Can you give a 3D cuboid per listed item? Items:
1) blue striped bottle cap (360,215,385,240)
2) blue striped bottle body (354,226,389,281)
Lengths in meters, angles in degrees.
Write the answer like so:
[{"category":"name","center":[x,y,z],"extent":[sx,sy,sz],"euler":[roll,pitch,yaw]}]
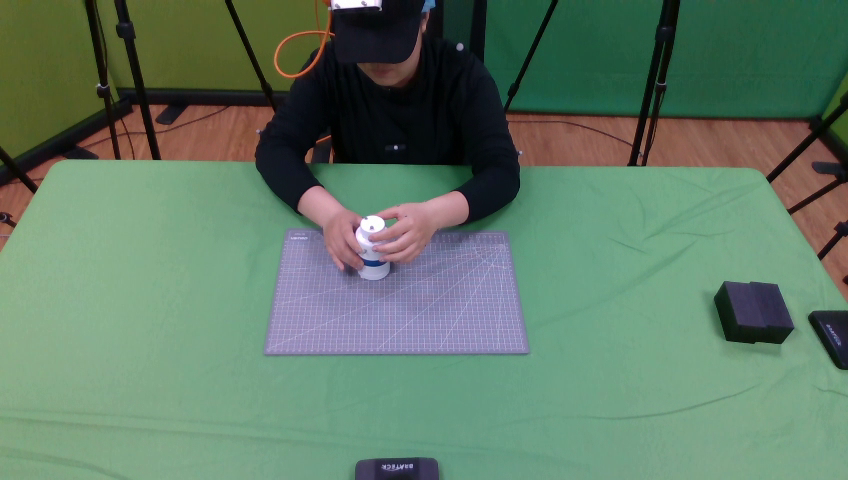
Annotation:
[{"category":"blue striped bottle cap","center":[-0.091,-0.023,1.070],"extent":[0.044,0.021,0.044],"euler":[1,47,-1]},{"category":"blue striped bottle body","center":[-0.095,0.014,1.106],"extent":[0.063,0.121,0.062],"euler":[2,45,-1]}]
